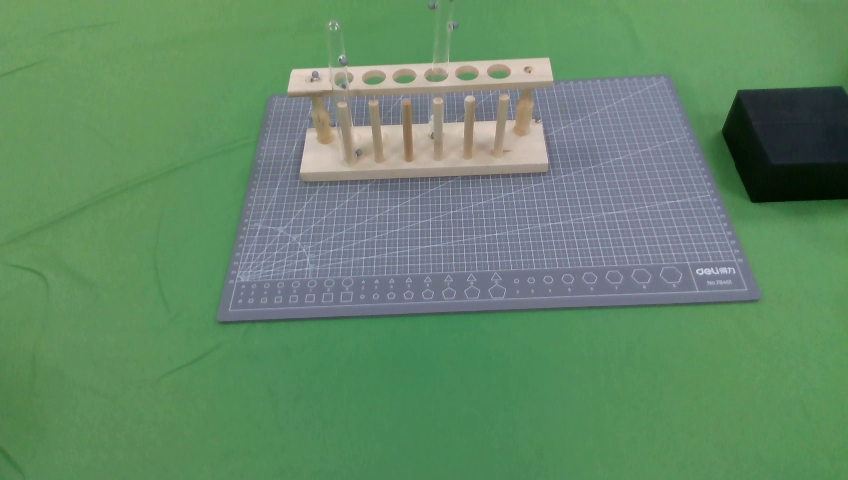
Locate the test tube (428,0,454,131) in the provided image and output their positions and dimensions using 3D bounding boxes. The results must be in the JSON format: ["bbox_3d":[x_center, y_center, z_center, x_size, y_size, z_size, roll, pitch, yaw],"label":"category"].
[{"bbox_3d":[0.015,-0.161,0.554,0.017,0.151,0.017,2,49,-2],"label":"test tube"}]

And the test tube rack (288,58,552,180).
[{"bbox_3d":[-0.002,-0.115,0.583,0.242,0.086,0.066,-2,51,2],"label":"test tube rack"}]

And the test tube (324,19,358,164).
[{"bbox_3d":[-0.073,-0.126,0.539,0.017,0.152,0.017,0,51,0],"label":"test tube"}]
